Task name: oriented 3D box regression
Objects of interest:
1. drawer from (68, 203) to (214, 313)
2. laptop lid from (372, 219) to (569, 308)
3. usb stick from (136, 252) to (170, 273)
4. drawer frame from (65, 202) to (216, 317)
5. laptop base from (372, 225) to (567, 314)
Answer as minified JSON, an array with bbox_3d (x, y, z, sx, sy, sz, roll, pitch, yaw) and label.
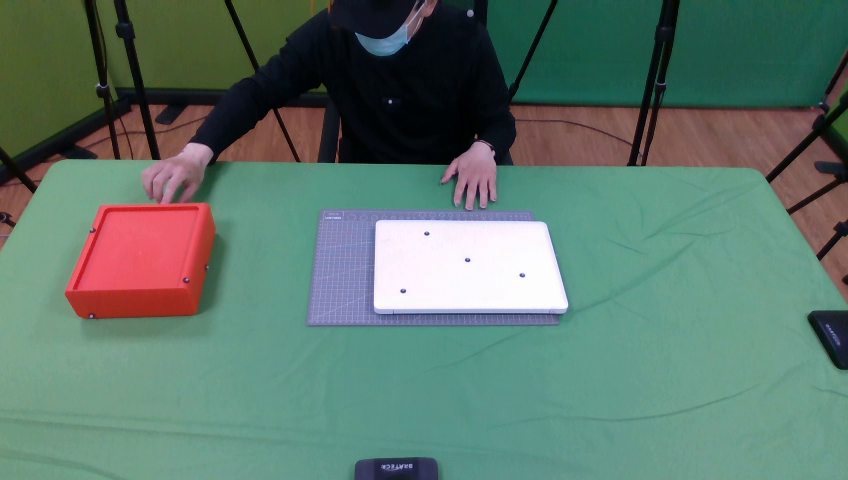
[{"bbox_3d":[-0.499,0.028,1.092,0.195,0.073,0.210,-1,47,-6],"label":"drawer"},{"bbox_3d":[0.081,0.039,1.152,0.357,0.013,0.240,2,44,-3],"label":"laptop lid"},{"bbox_3d":[-0.498,0.040,1.106,0.059,0.027,0.021,11,46,6],"label":"usb stick"},{"bbox_3d":[-0.497,0.029,1.090,0.202,0.083,0.212,-1,47,-6],"label":"drawer frame"},{"bbox_3d":[0.080,0.049,1.158,0.355,0.023,0.234,0,43,-4],"label":"laptop base"}]
